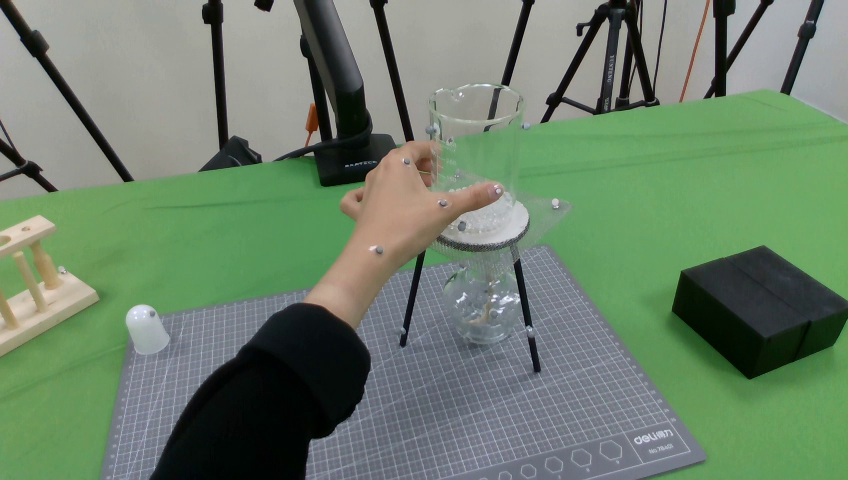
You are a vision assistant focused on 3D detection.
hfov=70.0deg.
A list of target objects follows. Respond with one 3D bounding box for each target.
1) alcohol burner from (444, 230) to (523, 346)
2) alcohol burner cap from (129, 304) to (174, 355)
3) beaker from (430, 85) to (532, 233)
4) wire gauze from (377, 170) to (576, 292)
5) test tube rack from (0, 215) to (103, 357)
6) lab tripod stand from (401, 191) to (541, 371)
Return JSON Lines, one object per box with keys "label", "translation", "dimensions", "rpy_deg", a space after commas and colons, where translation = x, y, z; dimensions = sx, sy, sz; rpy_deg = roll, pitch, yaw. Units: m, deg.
{"label": "alcohol burner", "translation": [0.057, 0.039, 0.552], "dimensions": [0.078, 0.120, 0.077], "rpy_deg": [-1, 37, 1]}
{"label": "alcohol burner cap", "translation": [-0.259, 0.081, 0.572], "dimensions": [0.034, 0.048, 0.033], "rpy_deg": [-1, 35, 1]}
{"label": "beaker", "translation": [0.041, -0.064, 0.482], "dimensions": [0.074, 0.101, 0.083], "rpy_deg": [-14, 37, -17]}
{"label": "wire gauze", "translation": [0.044, -0.018, 0.501], "dimensions": [0.124, 0.011, 0.121], "rpy_deg": [27, 46, 30]}
{"label": "test tube rack", "translation": [-0.441, 0.074, 0.559], "dimensions": [0.066, 0.086, 0.242], "rpy_deg": [22, 41, 31]}
{"label": "lab tripod stand", "translation": [0.051, 0.035, 0.541], "dimensions": [0.148, 0.132, 0.147], "rpy_deg": [0, 35, 0]}
